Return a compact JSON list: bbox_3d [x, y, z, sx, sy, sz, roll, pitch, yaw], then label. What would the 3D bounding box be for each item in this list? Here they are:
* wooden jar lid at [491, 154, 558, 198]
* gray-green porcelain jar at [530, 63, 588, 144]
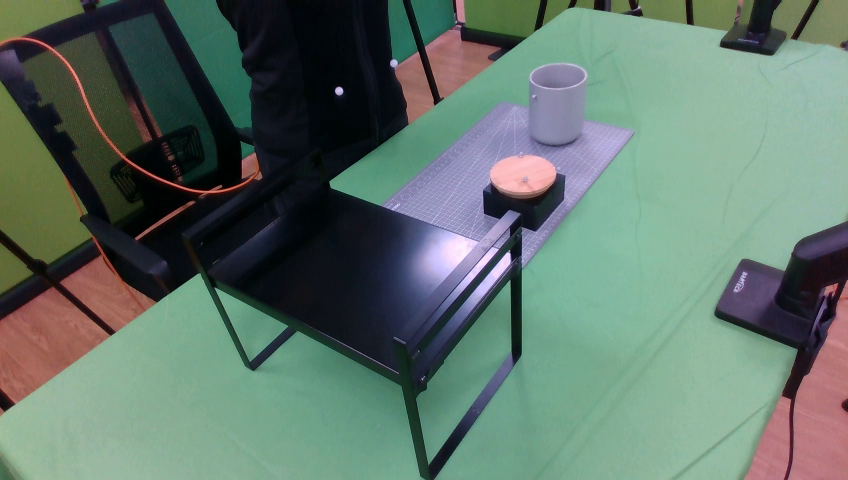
[{"bbox_3d":[0.164,-0.104,0.994,0.108,0.021,0.108,-4,40,4],"label":"wooden jar lid"},{"bbox_3d":[0.254,-0.255,1.151,0.106,0.127,0.105,-4,41,4],"label":"gray-green porcelain jar"}]
